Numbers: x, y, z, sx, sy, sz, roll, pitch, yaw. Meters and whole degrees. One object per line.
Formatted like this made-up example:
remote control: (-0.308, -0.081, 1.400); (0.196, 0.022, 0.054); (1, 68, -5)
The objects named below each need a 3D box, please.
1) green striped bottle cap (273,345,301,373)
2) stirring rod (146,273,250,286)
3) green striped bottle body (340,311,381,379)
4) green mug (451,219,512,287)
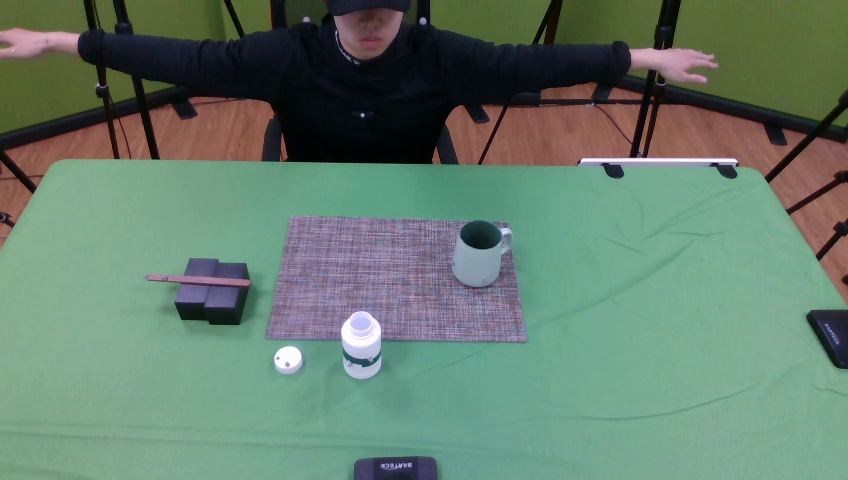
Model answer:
green striped bottle cap: (-0.225, 0.195, 0.997); (0.044, 0.020, 0.044); (2, 50, -2)
stirring rod: (-0.389, 0.068, 1.045); (0.176, 0.006, 0.014); (4, 44, -2)
green striped bottle body: (-0.101, 0.165, 0.964); (0.063, 0.120, 0.063); (2, 46, -2)
green mug: (0.112, 0.019, 1.125); (0.125, 0.105, 0.092); (-24, 52, -25)
